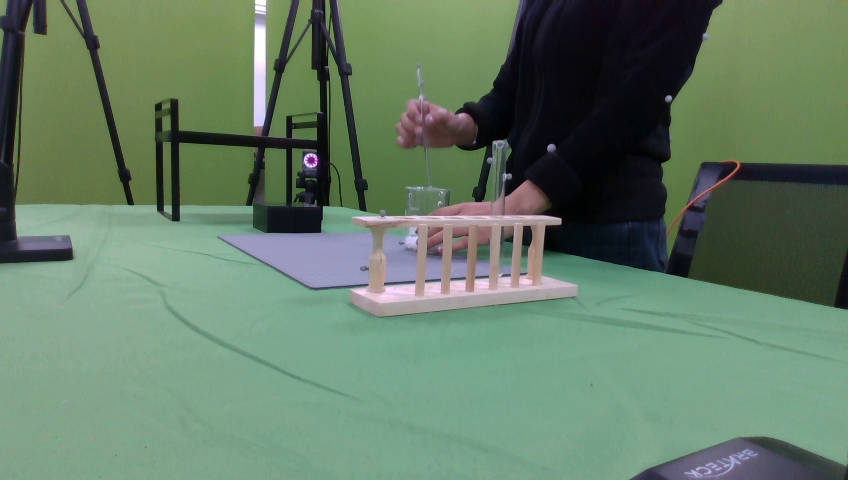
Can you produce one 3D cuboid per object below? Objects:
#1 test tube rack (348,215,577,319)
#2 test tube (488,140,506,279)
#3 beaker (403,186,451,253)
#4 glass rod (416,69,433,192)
[{"bbox_3d":[0.048,0.021,0.619,0.244,0.085,0.066,-2,9,-31],"label":"test tube rack"},{"bbox_3d":[0.079,-0.032,0.653,0.017,0.150,0.017,1,2,0],"label":"test tube"},{"bbox_3d":[0.005,-0.034,0.954,0.073,0.100,0.084,9,9,38],"label":"beaker"},{"bbox_3d":[0.001,-0.174,0.954,0.008,0.199,0.008,-7,-6,0],"label":"glass rod"}]
